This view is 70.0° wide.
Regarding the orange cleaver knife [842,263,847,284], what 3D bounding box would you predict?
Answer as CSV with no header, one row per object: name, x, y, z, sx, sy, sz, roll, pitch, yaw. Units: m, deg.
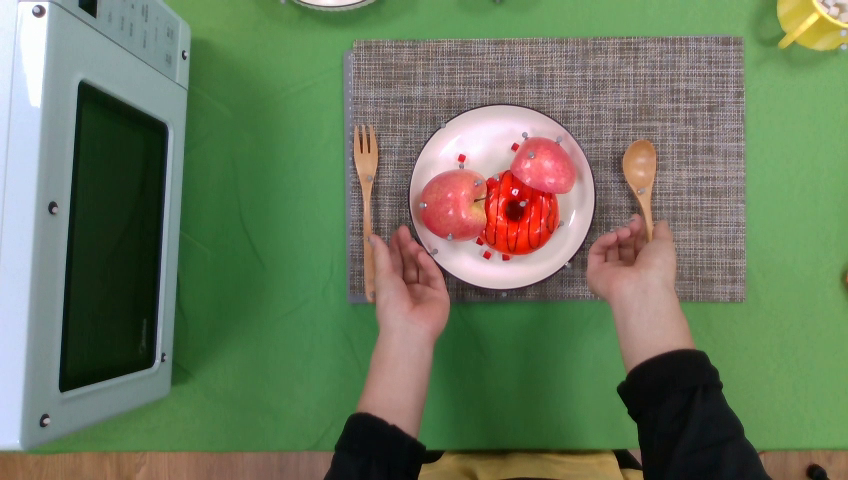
orange cleaver knife,0.521,0.106,0.663,0.077,0.012,0.211,-16,86,-2

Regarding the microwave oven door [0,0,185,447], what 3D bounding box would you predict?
microwave oven door,-0.311,-0.009,0.589,0.039,0.244,0.355,2,88,4

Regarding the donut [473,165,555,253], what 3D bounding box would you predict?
donut,0.095,-0.034,0.670,0.099,0.048,0.099,0,88,2

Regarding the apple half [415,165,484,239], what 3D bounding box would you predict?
apple half,0.023,-0.043,0.655,0.074,0.054,0.080,1,85,44

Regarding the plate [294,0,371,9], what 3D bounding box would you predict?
plate,-0.103,-0.369,0.710,0.207,0.039,0.207,0,88,4

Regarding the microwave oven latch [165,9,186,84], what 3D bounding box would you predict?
microwave oven latch,-0.293,-0.222,0.697,0.030,0.029,0.079,3,89,3

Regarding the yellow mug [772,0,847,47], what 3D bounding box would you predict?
yellow mug,0.434,-0.260,0.659,0.131,0.064,0.100,-43,86,2

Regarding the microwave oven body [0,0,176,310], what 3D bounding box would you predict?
microwave oven body,-0.454,-0.056,0.605,0.326,0.260,0.441,2,88,3

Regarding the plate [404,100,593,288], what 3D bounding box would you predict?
plate,0.082,-0.051,0.683,0.209,0.038,0.209,0,88,4

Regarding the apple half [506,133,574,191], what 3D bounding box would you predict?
apple half,0.132,-0.091,0.655,0.081,0.033,0.080,9,50,-11

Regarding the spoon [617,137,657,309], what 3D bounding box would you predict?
spoon,0.245,-0.019,0.679,0.042,0.021,0.193,-6,87,-19

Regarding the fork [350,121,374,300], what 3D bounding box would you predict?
fork,-0.069,-0.034,0.701,0.028,0.018,0.207,-2,86,-2
